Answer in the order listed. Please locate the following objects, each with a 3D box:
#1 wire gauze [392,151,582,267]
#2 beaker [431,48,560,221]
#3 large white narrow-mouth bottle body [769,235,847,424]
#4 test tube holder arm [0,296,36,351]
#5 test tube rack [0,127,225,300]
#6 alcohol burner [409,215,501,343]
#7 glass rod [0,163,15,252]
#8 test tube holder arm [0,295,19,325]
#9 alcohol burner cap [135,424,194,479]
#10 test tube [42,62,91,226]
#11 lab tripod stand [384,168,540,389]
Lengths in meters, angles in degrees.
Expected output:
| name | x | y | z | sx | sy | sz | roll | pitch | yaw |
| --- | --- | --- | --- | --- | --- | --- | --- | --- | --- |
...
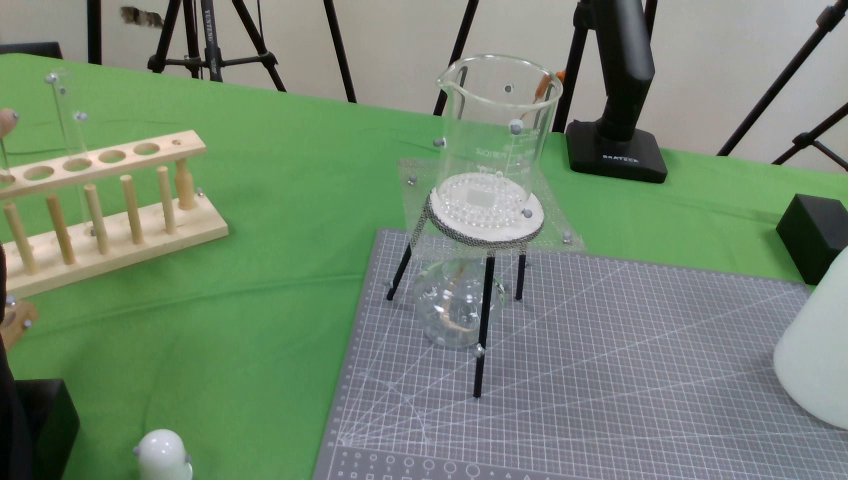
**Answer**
| name | x | y | z | sx | sy | sz | roll | pitch | yaw |
| --- | --- | --- | --- | --- | --- | --- | --- | --- | --- |
| wire gauze | 0.041 | -0.030 | 0.449 | 0.122 | 0.011 | 0.123 | -2 | 44 | -10 |
| beaker | 0.042 | -0.070 | 0.420 | 0.084 | 0.101 | 0.073 | 3 | 41 | -6 |
| large white narrow-mouth bottle body | 0.353 | 0.047 | 0.462 | 0.102 | 0.196 | 0.101 | 4 | 39 | -3 |
| test tube holder arm | -0.285 | 0.071 | 0.394 | 0.010 | 0.015 | 0.087 | 10 | 38 | 2 |
| test tube rack | -0.308 | -0.022 | 0.528 | 0.243 | 0.086 | 0.066 | -21 | 47 | -31 |
| alcohol burner | 0.028 | 0.027 | 0.497 | 0.078 | 0.120 | 0.077 | 6 | 38 | -5 |
| glass rod | -0.344 | -0.075 | 0.481 | 0.008 | 0.201 | 0.008 | 8 | 30 | -4 |
| test tube holder arm | -0.296 | 0.098 | 0.359 | 0.013 | 0.015 | 0.177 | 9 | 38 | 2 |
| alcohol burner cap | -0.168 | 0.139 | 0.388 | 0.034 | 0.048 | 0.033 | 6 | 39 | -4 |
| test tube | -0.299 | -0.076 | 0.517 | 0.017 | 0.151 | 0.017 | 5 | 35 | -3 |
| lab tripod stand | 0.038 | 0.023 | 0.488 | 0.148 | 0.132 | 0.147 | 6 | 40 | -5 |
